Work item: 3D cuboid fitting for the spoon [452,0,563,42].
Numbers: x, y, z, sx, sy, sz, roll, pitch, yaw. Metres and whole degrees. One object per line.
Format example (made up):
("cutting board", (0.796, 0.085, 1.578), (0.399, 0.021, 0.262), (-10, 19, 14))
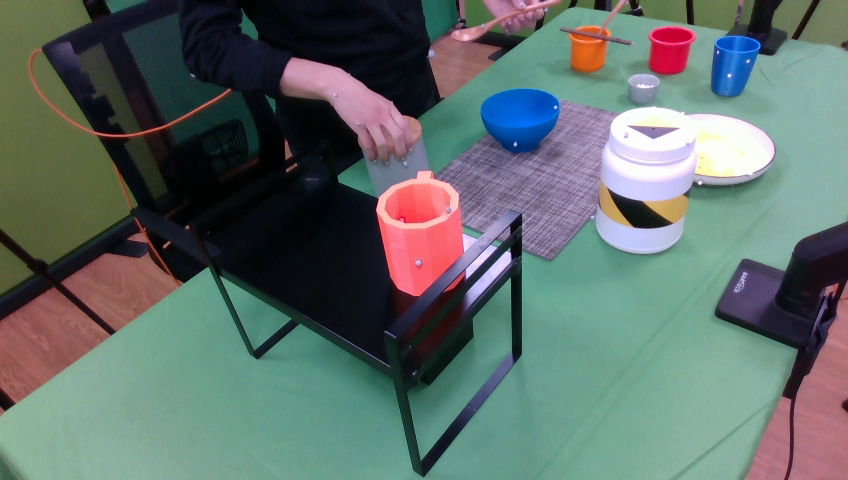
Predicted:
("spoon", (0.142, -0.378, 1.039), (0.193, 0.022, 0.041), (-18, 41, 15))

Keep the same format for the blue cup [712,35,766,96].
("blue cup", (0.627, -0.350, 1.227), (0.092, 0.100, 0.092), (-4, 39, 4))

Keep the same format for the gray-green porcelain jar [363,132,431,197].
("gray-green porcelain jar", (-0.042, -0.127, 1.050), (0.106, 0.127, 0.105), (-8, 40, 7))

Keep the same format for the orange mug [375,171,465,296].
("orange mug", (0.000, -0.016, 0.661), (0.083, 0.101, 0.125), (-2, 45, 8))

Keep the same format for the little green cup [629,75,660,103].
("little green cup", (0.458, -0.314, 1.260), (0.061, 0.039, 0.061), (-4, 40, 4))

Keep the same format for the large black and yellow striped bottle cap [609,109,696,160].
("large black and yellow striped bottle cap", (0.319, -0.150, 0.849), (0.115, 0.019, 0.114), (-4, 40, 3))

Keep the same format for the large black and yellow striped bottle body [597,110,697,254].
("large black and yellow striped bottle body", (0.331, -0.086, 0.904), (0.131, 0.185, 0.130), (-5, 41, 4))

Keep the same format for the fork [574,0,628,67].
("fork", (0.413, -0.481, 1.377), (0.207, 0.019, 0.028), (-56, 43, 12))

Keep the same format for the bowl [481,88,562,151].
("bowl", (0.187, -0.223, 1.162), (0.151, 0.077, 0.150), (-4, 40, 4))

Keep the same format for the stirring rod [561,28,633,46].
("stirring rod", (0.382, -0.453, 1.345), (0.174, 0.006, 0.014), (27, 53, 33))

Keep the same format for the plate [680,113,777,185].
("plate", (0.506, -0.158, 1.073), (0.209, 0.038, 0.208), (-5, 40, 4))

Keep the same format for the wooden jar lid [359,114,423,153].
("wooden jar lid", (-0.055, -0.174, 1.010), (0.108, 0.021, 0.108), (-7, 41, 6))
